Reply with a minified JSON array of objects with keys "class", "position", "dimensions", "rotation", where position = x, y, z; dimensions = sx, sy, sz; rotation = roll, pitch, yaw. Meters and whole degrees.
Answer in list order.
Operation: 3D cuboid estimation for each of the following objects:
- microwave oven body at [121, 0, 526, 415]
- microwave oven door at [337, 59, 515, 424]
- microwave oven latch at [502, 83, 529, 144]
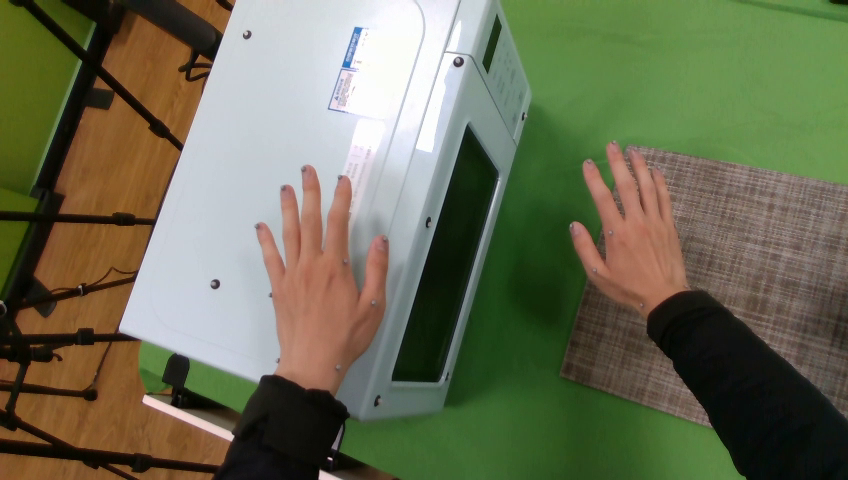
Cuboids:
[{"class":"microwave oven body","position":[-0.101,-0.051,0.731],"dimensions":[0.324,0.262,0.440],"rotation":[14,83,21]},{"class":"microwave oven door","position":[0.017,0.019,0.667],"dimensions":[0.039,0.246,0.355],"rotation":[13,82,22]},{"class":"microwave oven latch","position":[0.114,-0.165,0.787],"dimensions":[0.030,0.030,0.079],"rotation":[16,84,21]}]
